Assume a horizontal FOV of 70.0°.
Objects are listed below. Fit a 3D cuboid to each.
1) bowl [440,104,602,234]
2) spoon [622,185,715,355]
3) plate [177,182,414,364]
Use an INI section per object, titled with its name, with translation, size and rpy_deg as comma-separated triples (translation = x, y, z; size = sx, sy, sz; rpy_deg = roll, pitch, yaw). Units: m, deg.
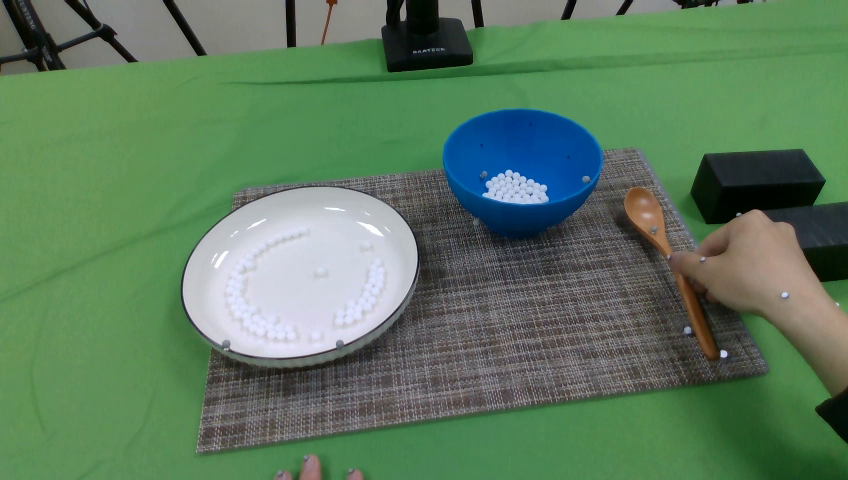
[bowl]
translation = 0.091, -0.059, 0.594
size = 0.151, 0.077, 0.150
rpy_deg = -1, 46, 1
[spoon]
translation = 0.222, 0.020, 0.551
size = 0.042, 0.022, 0.191
rpy_deg = 9, 43, -17
[plate]
translation = -0.111, 0.028, 0.548
size = 0.207, 0.039, 0.205
rpy_deg = -1, 46, 1
